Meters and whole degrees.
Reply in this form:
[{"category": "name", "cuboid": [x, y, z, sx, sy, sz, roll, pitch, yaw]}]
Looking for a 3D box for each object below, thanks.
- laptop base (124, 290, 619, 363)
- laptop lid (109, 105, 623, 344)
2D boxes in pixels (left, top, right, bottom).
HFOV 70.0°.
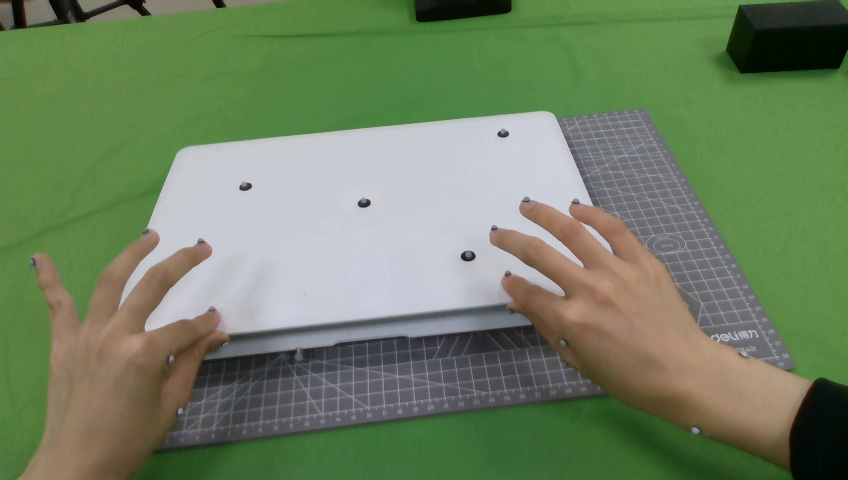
[{"category": "laptop base", "cuboid": [-0.044, -0.014, 0.501, 0.354, 0.023, 0.233, -6, 50, 0]}, {"category": "laptop lid", "cuboid": [-0.046, -0.029, 0.484, 0.357, 0.013, 0.239, -5, 44, 1]}]
